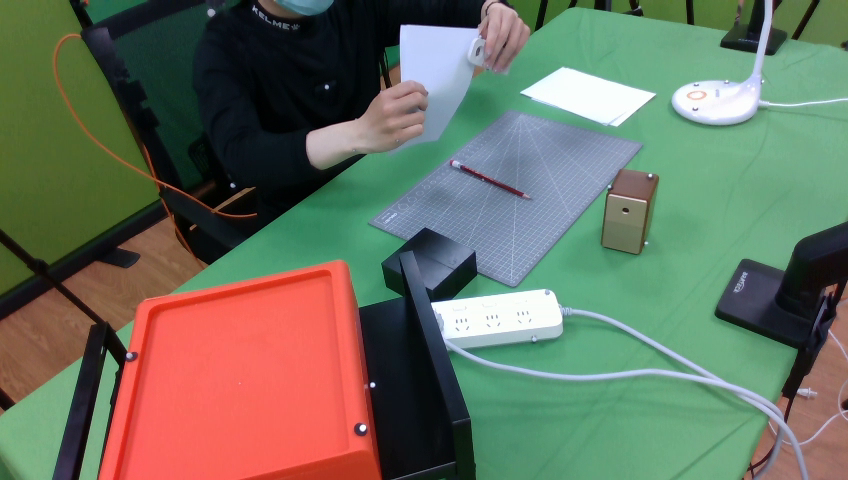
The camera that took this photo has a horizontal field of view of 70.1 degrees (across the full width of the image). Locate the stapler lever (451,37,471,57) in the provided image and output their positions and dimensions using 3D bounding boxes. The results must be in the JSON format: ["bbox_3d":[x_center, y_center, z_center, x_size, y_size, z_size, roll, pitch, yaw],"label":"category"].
[{"bbox_3d":[0.090,-0.320,1.032,0.040,0.027,0.119,31,21,31],"label":"stapler lever"}]

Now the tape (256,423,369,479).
[{"bbox_3d":[-0.121,0.263,0.660,0.117,0.053,0.116,-4,40,4],"label":"tape"}]

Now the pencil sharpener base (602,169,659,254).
[{"bbox_3d":[0.312,-0.044,0.913,0.061,0.107,0.077,14,45,24],"label":"pencil sharpener base"}]

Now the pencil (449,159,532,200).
[{"bbox_3d":[0.117,-0.109,1.091,0.192,0.012,0.012,31,53,34],"label":"pencil"}]

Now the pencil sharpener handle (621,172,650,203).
[{"bbox_3d":[0.328,-0.087,0.940,0.036,0.068,0.030,30,49,7],"label":"pencil sharpener handle"}]

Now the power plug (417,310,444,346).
[{"bbox_3d":[0.006,0.122,0.785,0.035,0.053,0.072,-1,40,9],"label":"power plug"}]

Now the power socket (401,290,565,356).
[{"bbox_3d":[0.080,0.112,0.822,0.227,0.033,0.072,-6,41,0],"label":"power socket"}]

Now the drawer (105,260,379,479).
[{"bbox_3d":[-0.150,0.127,0.525,0.195,0.073,0.210,-11,41,-5],"label":"drawer"}]

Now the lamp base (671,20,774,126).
[{"bbox_3d":[0.581,-0.332,1.154,0.179,0.181,0.160,2,41,7],"label":"lamp base"}]

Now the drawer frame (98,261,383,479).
[{"bbox_3d":[-0.148,0.129,0.520,0.202,0.083,0.212,-12,41,-6],"label":"drawer frame"}]

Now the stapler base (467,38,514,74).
[{"bbox_3d":[0.107,-0.311,1.018,0.024,0.041,0.131,31,21,32],"label":"stapler base"}]
